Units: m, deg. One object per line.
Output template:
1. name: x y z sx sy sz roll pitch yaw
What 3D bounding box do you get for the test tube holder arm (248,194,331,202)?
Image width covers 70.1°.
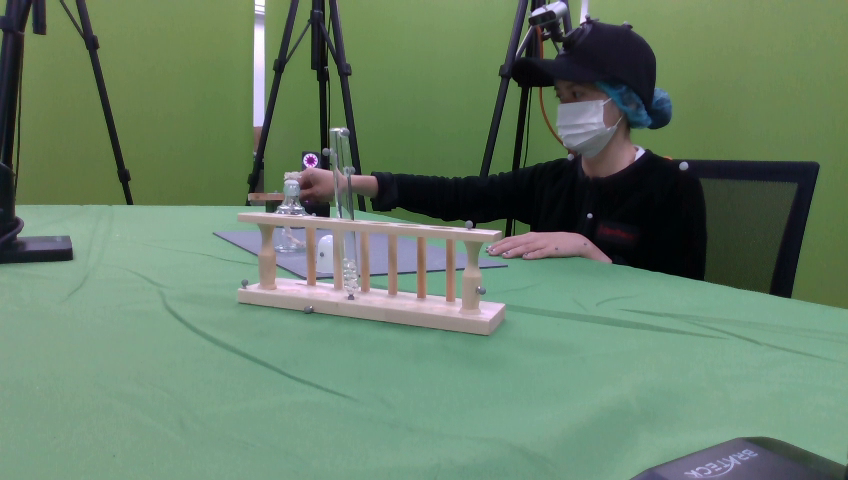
1. test tube holder arm: -0.270 -0.085 1.229 0.179 0.015 0.013 -3 9 -39

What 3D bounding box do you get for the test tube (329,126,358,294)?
1. test tube: -0.071 -0.025 0.534 0.017 0.150 0.017 -3 10 1

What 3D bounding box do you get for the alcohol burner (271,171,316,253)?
1. alcohol burner: -0.196 -0.041 0.884 0.078 0.119 0.078 3 5 0

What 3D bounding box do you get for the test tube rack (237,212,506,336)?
1. test tube rack: -0.049 0.024 0.552 0.242 0.085 0.067 5 8 18

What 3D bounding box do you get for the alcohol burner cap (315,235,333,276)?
1. alcohol burner cap: -0.116 0.018 0.728 0.034 0.048 0.034 3 6 0

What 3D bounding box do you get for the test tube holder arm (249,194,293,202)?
1. test tube holder arm: -0.302 -0.083 1.197 0.088 0.015 0.010 -3 9 -37
